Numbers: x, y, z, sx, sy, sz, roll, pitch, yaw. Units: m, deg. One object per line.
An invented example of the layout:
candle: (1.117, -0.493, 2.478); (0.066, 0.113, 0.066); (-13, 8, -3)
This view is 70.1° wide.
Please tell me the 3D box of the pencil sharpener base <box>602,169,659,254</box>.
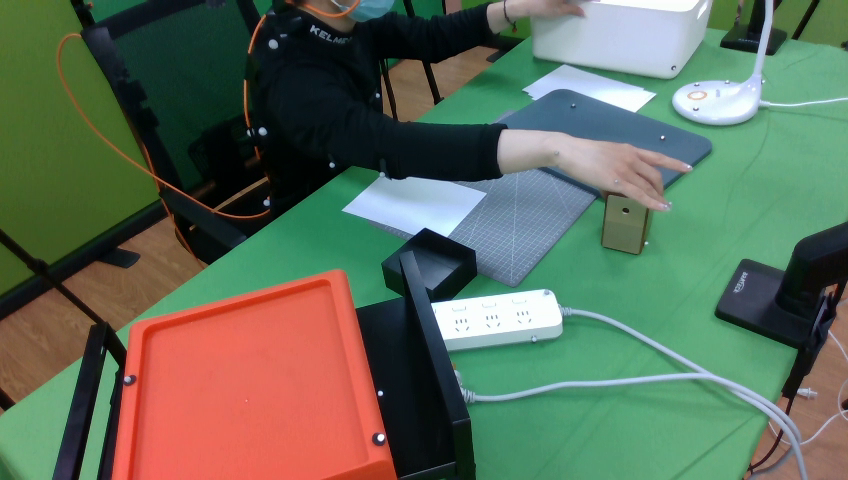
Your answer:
pencil sharpener base: (0.312, -0.044, 0.913); (0.061, 0.107, 0.077); (14, 44, 24)

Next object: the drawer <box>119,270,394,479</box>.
drawer: (-0.141, 0.139, 0.509); (0.195, 0.073, 0.210); (-14, 42, -8)

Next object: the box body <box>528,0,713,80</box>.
box body: (0.451, -0.513, 1.398); (0.361, 0.161, 0.254); (19, 48, 28)

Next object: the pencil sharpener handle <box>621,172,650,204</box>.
pencil sharpener handle: (0.328, -0.086, 0.940); (0.036, 0.068, 0.030); (30, 49, 8)

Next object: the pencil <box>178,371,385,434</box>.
pencil: (-0.128, 0.141, 0.534); (0.194, 0.012, 0.012); (14, 44, 7)

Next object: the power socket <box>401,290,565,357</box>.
power socket: (0.080, 0.113, 0.821); (0.227, 0.033, 0.072); (-6, 41, 0)

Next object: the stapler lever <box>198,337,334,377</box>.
stapler lever: (-0.142, 0.105, 0.541); (0.118, 0.040, 0.026); (-3, 43, 4)

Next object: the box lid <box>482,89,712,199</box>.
box lid: (0.319, -0.190, 1.156); (0.264, 0.015, 0.368); (-33, 47, -28)

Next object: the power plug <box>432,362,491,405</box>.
power plug: (0.044, 0.182, 0.759); (0.073, 0.035, 0.052); (24, 41, -19)

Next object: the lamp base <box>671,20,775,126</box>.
lamp base: (0.582, -0.332, 1.153); (0.179, 0.181, 0.160); (2, 41, 7)

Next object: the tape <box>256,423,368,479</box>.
tape: (-0.121, 0.262, 0.659); (0.117, 0.053, 0.116); (-4, 40, 4)

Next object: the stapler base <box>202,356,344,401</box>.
stapler base: (-0.141, 0.123, 0.557); (0.130, 0.024, 0.041); (-2, 43, 3)

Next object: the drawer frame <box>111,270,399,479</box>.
drawer frame: (-0.140, 0.140, 0.506); (0.202, 0.083, 0.212); (-15, 41, -9)
